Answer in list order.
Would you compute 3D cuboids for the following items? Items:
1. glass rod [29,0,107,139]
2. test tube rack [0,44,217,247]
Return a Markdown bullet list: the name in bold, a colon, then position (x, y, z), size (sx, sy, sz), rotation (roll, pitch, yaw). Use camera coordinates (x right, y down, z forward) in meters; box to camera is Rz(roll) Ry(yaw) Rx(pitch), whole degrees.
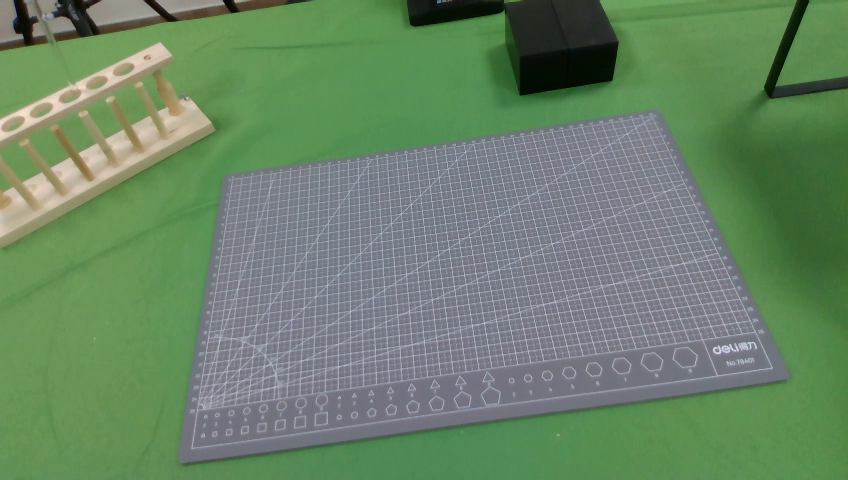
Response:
- **glass rod**: position (-0.350, -0.168, 0.594), size (0.008, 0.201, 0.008), rotation (-2, 44, 2)
- **test tube rack**: position (-0.352, -0.101, 0.627), size (0.242, 0.086, 0.066), rotation (-34, 55, -17)
